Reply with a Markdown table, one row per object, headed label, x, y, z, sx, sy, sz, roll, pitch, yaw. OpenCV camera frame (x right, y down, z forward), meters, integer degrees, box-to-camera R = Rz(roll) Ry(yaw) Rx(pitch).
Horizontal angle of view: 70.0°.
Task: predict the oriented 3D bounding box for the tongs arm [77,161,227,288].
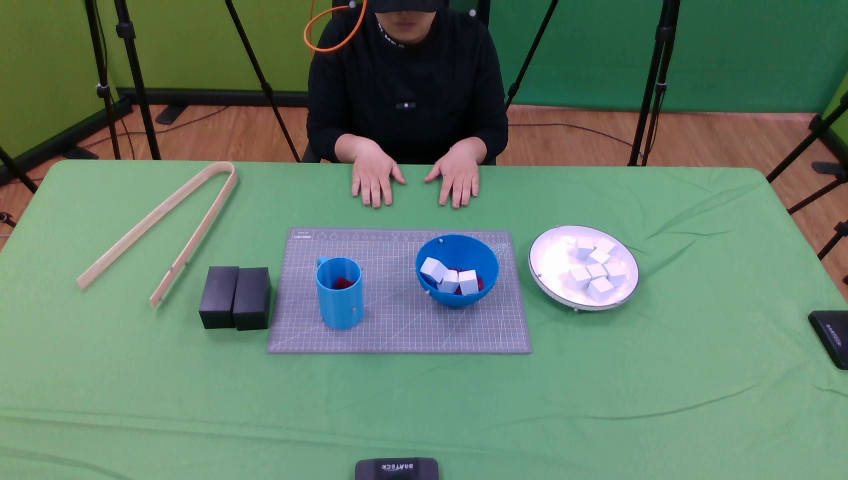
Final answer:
| label | x | y | z | sx | sy | sz | roll | pitch | yaw |
| --- | --- | --- | --- | --- | --- | --- | --- | --- | --- |
| tongs arm | -0.524 | -0.043 | 1.195 | 0.028 | 0.028 | 0.386 | 16 | 47 | 21 |

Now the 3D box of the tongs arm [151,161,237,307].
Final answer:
| label | x | y | z | sx | sy | sz | roll | pitch | yaw |
| --- | --- | --- | --- | --- | --- | --- | --- | --- | --- |
| tongs arm | -0.447 | -0.026 | 1.180 | 0.051 | 0.026 | 0.383 | 8 | 46 | 10 |

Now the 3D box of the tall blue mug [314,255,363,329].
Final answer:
| label | x | y | z | sx | sy | sz | roll | pitch | yaw |
| --- | --- | --- | --- | --- | --- | --- | --- | --- | --- |
| tall blue mug | -0.157 | 0.085 | 1.040 | 0.107 | 0.108 | 0.077 | 23 | 50 | 17 |

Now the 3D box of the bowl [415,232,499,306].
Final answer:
| label | x | y | z | sx | sy | sz | roll | pitch | yaw |
| --- | --- | --- | --- | --- | --- | --- | --- | --- | --- |
| bowl | 0.057 | 0.067 | 1.093 | 0.151 | 0.077 | 0.150 | 2 | 46 | -2 |

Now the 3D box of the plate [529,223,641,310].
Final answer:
| label | x | y | z | sx | sy | sz | roll | pitch | yaw |
| --- | --- | --- | --- | --- | --- | --- | --- | --- | --- |
| plate | 0.303 | 0.053 | 1.156 | 0.209 | 0.038 | 0.208 | 2 | 46 | -1 |
